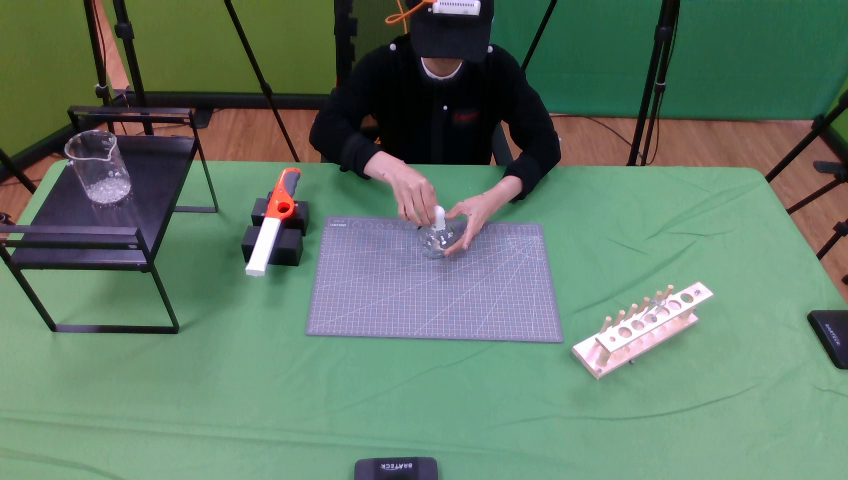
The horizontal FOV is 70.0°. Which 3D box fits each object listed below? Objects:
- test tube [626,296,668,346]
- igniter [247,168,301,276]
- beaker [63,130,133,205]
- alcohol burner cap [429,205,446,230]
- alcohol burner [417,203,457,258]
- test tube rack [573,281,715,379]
[{"bbox_3d":[0.352,0.133,0.970,0.017,0.151,0.017,3,54,-4],"label":"test tube"},{"bbox_3d":[-0.282,-0.043,1.149,0.057,0.025,0.275,8,48,-1],"label":"igniter"},{"bbox_3d":[-0.511,-0.112,0.964,0.083,0.101,0.074,31,52,23],"label":"beaker"},{"bbox_3d":[0.026,-0.044,1.126,0.034,0.048,0.033,1,47,-1],"label":"alcohol burner cap"},{"bbox_3d":[0.025,-0.022,1.150,0.078,0.120,0.077,1,45,0],"label":"alcohol burner"},{"bbox_3d":[0.378,0.140,1.038,0.242,0.085,0.066,-22,51,-23],"label":"test tube rack"}]
